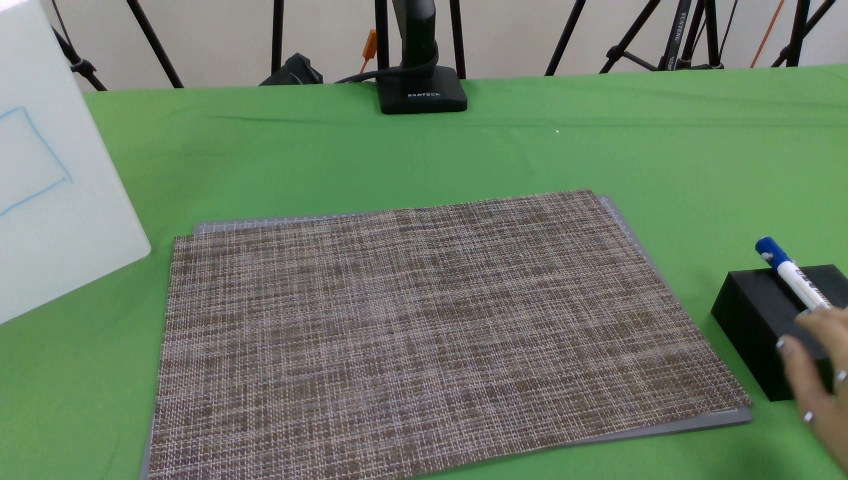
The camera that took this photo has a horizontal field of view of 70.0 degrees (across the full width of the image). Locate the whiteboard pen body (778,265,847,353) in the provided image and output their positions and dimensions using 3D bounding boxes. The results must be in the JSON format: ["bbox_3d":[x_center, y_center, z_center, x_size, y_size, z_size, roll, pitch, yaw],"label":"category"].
[{"bbox_3d":[0.316,0.055,0.481,0.017,0.017,0.139,-6,40,-8],"label":"whiteboard pen body"}]

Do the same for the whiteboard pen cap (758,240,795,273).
[{"bbox_3d":[0.308,0.016,0.526,0.018,0.018,0.033,-6,39,-9],"label":"whiteboard pen cap"}]

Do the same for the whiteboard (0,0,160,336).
[{"bbox_3d":[-0.409,-0.082,0.514,0.217,0.308,0.142,-31,30,-33],"label":"whiteboard"}]
